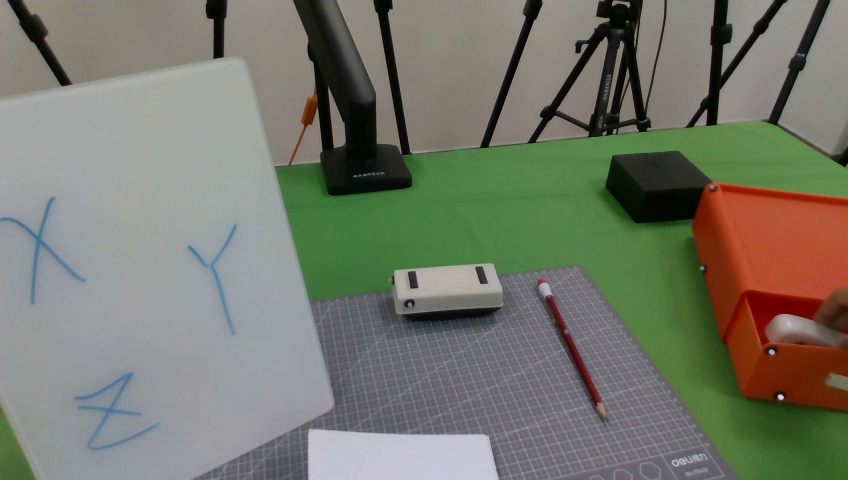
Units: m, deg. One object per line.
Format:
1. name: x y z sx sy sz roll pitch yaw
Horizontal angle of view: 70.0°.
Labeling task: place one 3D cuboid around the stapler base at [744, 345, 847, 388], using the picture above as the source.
1. stapler base: 0.378 0.116 0.575 0.130 0.024 0.041 5 39 10

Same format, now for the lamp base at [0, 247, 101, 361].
1. lamp base: -0.425 -0.001 0.573 0.178 0.182 0.160 16 38 23

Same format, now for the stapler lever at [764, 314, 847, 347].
1. stapler lever: 0.378 0.094 0.559 0.118 0.040 0.026 6 39 9

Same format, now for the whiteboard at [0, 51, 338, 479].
1. whiteboard: -0.225 0.026 0.487 0.218 0.307 0.142 -21 22 -27

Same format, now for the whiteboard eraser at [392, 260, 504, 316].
1. whiteboard eraser: 0.024 0.051 0.639 0.113 0.042 0.055 -3 37 -7

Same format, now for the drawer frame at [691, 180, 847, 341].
1. drawer frame: 0.416 0.028 0.660 0.201 0.083 0.212 7 35 8

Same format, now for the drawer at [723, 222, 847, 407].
1. drawer: 0.404 0.068 0.607 0.194 0.074 0.210 6 35 8

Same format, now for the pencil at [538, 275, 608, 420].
1. pencil: 0.146 0.100 0.606 0.012 0.012 0.192 -4 38 -8
